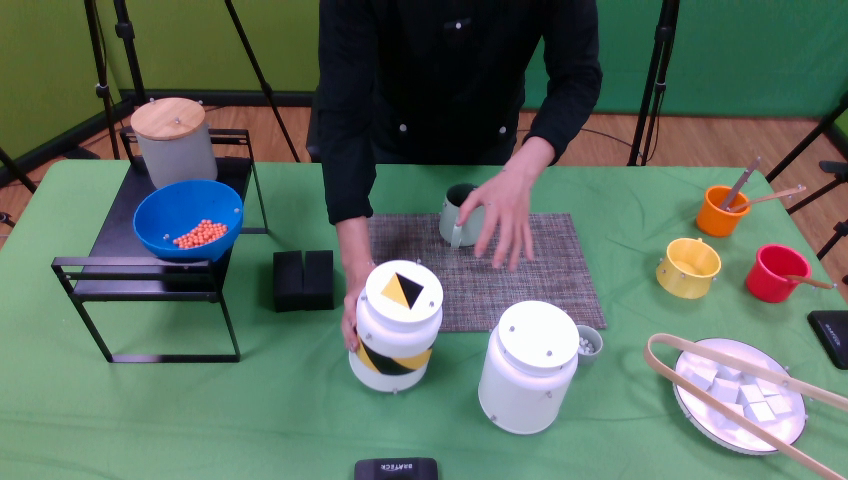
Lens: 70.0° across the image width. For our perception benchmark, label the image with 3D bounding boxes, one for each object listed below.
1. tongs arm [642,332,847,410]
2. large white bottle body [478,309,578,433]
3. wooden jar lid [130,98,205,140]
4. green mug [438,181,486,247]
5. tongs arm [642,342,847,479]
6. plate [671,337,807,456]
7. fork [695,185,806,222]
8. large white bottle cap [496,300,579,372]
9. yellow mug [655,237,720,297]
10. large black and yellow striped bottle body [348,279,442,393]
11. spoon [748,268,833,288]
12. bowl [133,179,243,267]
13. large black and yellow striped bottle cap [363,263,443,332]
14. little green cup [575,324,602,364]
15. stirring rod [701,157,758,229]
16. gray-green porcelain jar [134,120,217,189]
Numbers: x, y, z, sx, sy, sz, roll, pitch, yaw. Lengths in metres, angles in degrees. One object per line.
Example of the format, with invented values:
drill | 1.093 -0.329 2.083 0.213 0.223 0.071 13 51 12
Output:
tongs arm | 0.546 0.227 0.968 0.384 0.026 0.050 22 52 13
large white bottle body | 0.155 0.192 0.913 0.131 0.185 0.130 2 46 -2
wooden jar lid | -0.393 -0.183 0.934 0.108 0.021 0.107 2 43 -2
green mug | 0.071 -0.040 1.178 0.092 0.105 0.124 12 47 7
tongs arm | 0.504 0.279 0.918 0.386 0.028 0.028 33 59 22
plate | 0.504 0.254 0.984 0.208 0.039 0.206 2 46 -2
fork | 0.658 -0.074 1.229 0.207 0.019 0.028 -23 36 37
large white bottle cap | 0.160 0.133 0.852 0.115 0.018 0.114 3 46 -2
yellow mug | 0.509 0.041 1.167 0.099 0.064 0.130 24 48 18
large black and yellow striped bottle body | -0.045 0.137 0.937 0.131 0.185 0.130 7 46 -7
spoon | 0.660 0.068 1.097 0.041 0.193 0.021 -4 91 -6
bowl | -0.339 -0.013 0.895 0.151 0.077 0.150 2 46 -2
large black and yellow striped bottle cap | -0.030 0.081 0.876 0.115 0.019 0.114 6 46 -6
little green cup | 0.269 0.180 1.036 0.061 0.039 0.061 2 45 -2
stirring rod | 0.634 -0.096 1.257 0.014 0.006 0.176 38 97 29
gray-green porcelain jar | -0.397 -0.141 0.979 0.106 0.127 0.105 2 47 -2
